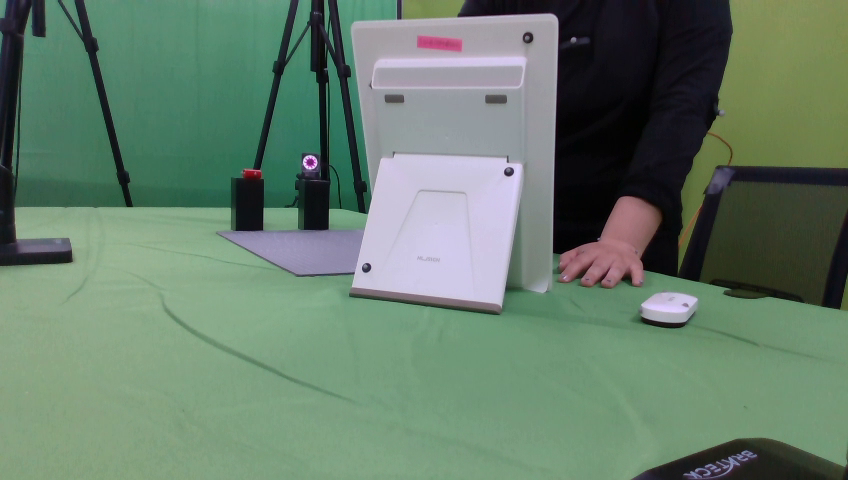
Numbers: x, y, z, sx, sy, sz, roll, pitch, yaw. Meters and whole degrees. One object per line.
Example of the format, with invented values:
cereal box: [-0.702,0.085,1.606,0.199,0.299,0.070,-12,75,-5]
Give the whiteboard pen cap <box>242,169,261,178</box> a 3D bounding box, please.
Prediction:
whiteboard pen cap: [-0.326,-0.125,1.144,0.032,0.017,0.017,0,7,-37]

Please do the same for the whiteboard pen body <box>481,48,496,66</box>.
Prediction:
whiteboard pen body: [0.072,-0.202,0.669,0.017,0.017,0.140,4,19,5]

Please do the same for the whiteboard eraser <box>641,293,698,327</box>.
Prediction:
whiteboard eraser: [0.240,0.066,0.589,0.041,0.019,0.102,5,7,32]

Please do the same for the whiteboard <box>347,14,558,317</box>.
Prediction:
whiteboard: [0.012,-0.055,0.608,0.216,0.305,0.144,6,27,20]
